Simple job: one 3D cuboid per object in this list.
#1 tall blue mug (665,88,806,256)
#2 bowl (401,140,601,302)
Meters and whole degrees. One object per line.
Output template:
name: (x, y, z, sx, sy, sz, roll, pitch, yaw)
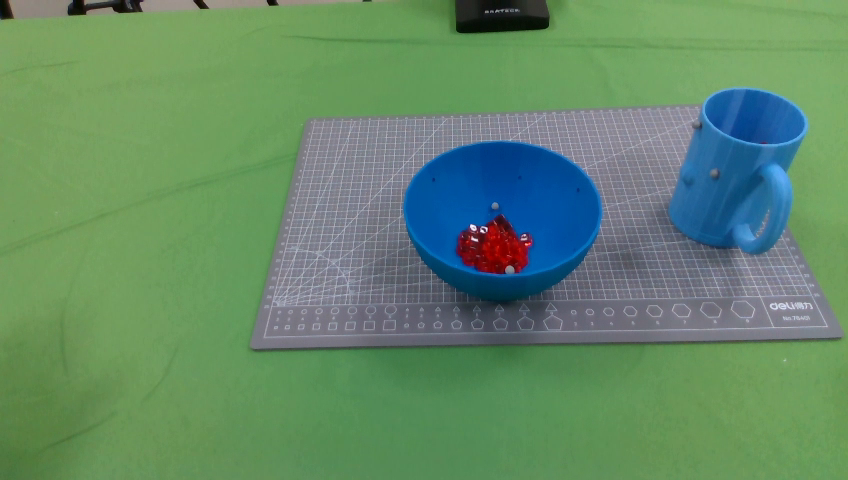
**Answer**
tall blue mug: (0.259, -0.048, 0.491, 0.078, 0.109, 0.106, -26, 51, -20)
bowl: (0.059, -0.003, 0.484, 0.151, 0.077, 0.150, -2, 47, 2)
